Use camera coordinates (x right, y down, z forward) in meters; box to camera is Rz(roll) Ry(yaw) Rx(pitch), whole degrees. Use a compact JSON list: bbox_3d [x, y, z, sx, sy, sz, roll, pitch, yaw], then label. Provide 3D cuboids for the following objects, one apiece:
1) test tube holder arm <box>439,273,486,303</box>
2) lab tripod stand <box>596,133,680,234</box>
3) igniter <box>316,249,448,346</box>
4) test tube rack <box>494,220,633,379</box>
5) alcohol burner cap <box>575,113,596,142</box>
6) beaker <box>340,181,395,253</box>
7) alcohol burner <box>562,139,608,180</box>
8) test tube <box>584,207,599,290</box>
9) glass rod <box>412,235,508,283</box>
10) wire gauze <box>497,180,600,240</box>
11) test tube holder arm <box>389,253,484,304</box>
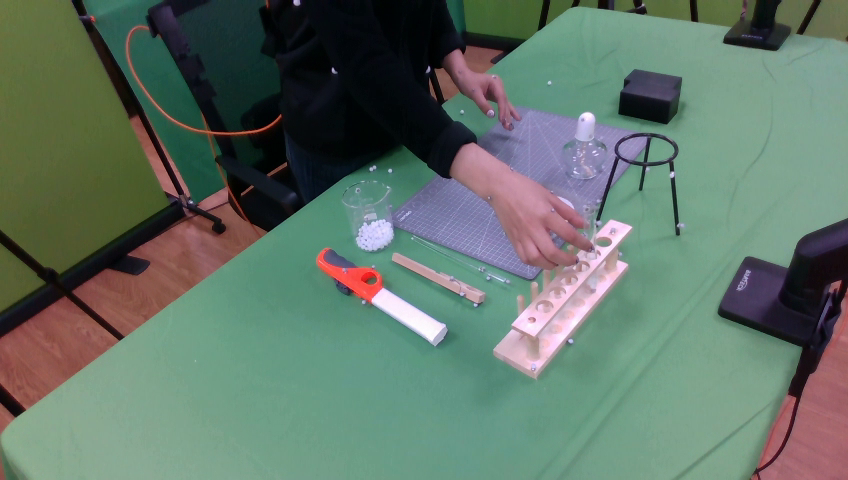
[{"bbox_3d":[0.053,0.071,0.895,0.087,0.015,0.010,24,13,33],"label":"test tube holder arm"},{"bbox_3d":[0.338,-0.090,0.940,0.148,0.132,0.147,-7,38,6],"label":"lab tripod stand"},{"bbox_3d":[-0.073,0.078,0.901,0.274,0.025,0.057,28,63,36],"label":"igniter"},{"bbox_3d":[0.191,0.068,0.818,0.066,0.085,0.243,25,51,35],"label":"test tube rack"},{"bbox_3d":[0.277,-0.193,1.028,0.034,0.048,0.033,-2,45,3],"label":"alcohol burner cap"},{"bbox_3d":[-0.086,-0.037,0.985,0.084,0.101,0.073,-18,41,-11],"label":"beaker"},{"bbox_3d":[0.281,-0.166,1.051,0.078,0.119,0.077,-5,39,4],"label":"alcohol burner"},{"bbox_3d":[0.221,0.015,0.796,0.017,0.151,0.017,-9,44,9],"label":"test tube"},{"bbox_3d":[0.052,0.028,0.951,0.198,0.008,0.008,26,52,37],"label":"glass rod"},{"bbox_3d":[0.207,-0.050,1.011,0.125,0.011,0.120,-34,45,-26],"label":"wire gauze"},{"bbox_3d":[0.015,0.056,0.915,0.177,0.015,0.013,23,13,32],"label":"test tube holder arm"}]
